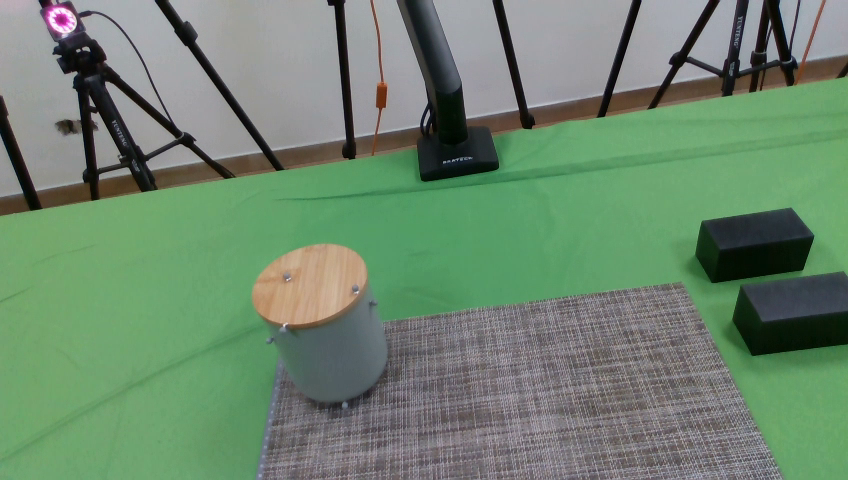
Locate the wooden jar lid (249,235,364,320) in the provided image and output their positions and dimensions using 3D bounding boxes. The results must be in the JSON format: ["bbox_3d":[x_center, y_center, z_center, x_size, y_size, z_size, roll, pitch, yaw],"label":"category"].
[{"bbox_3d":[-0.108,0.037,0.570,0.108,0.021,0.107,-4,42,4],"label":"wooden jar lid"}]

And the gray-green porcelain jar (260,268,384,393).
[{"bbox_3d":[-0.099,0.083,0.610,0.106,0.128,0.105,-6,41,6],"label":"gray-green porcelain jar"}]
